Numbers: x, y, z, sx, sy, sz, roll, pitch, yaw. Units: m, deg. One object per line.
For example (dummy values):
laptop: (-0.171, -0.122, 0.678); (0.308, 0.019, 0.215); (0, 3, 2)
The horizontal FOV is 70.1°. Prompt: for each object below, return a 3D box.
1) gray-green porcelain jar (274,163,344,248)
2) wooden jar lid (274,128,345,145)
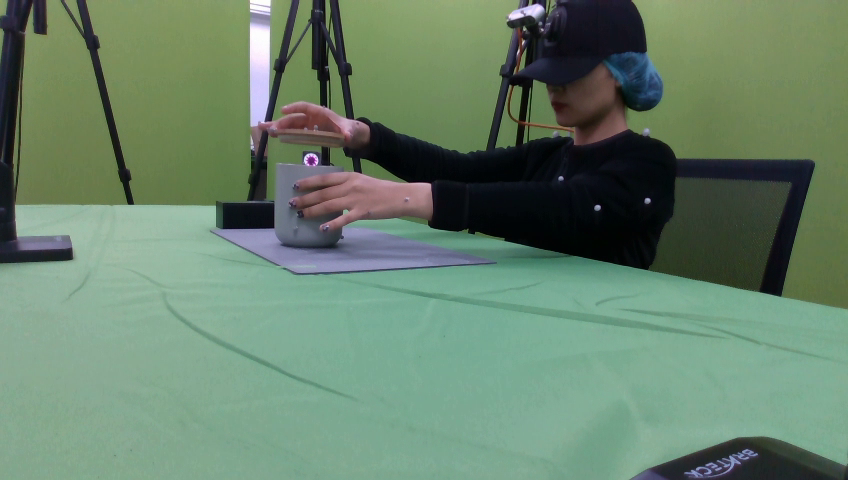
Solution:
gray-green porcelain jar: (-0.180, -0.055, 0.945); (0.106, 0.126, 0.106); (2, 7, 0)
wooden jar lid: (-0.179, -0.161, 0.948); (0.108, 0.020, 0.108); (3, 8, 0)
